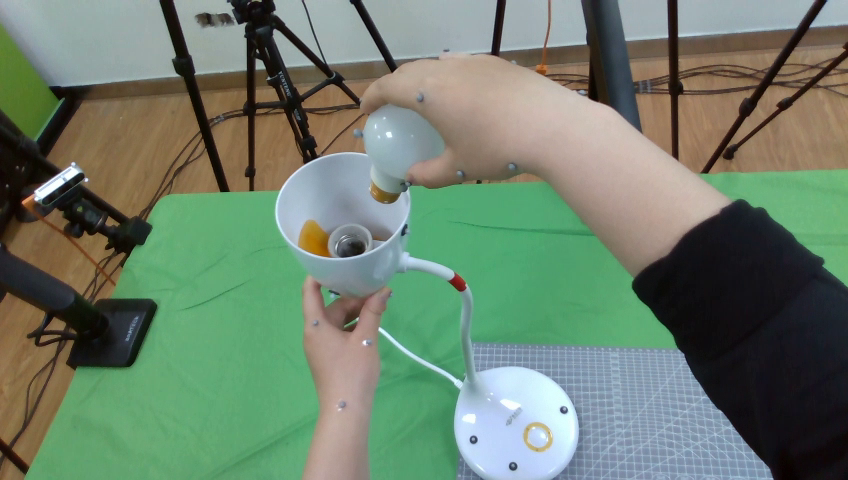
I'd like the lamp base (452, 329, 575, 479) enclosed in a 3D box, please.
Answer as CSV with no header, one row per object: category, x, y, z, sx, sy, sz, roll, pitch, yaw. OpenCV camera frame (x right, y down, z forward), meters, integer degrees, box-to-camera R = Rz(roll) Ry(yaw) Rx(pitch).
lamp base,0.092,0.185,0.736,0.178,0.182,0.160,22,60,29

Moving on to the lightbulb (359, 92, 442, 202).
lightbulb,-0.023,-0.063,0.452,0.060,0.108,0.059,8,59,-13

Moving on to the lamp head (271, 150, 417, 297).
lamp head,-0.064,-0.001,0.542,0.112,0.124,0.111,-4,56,6
